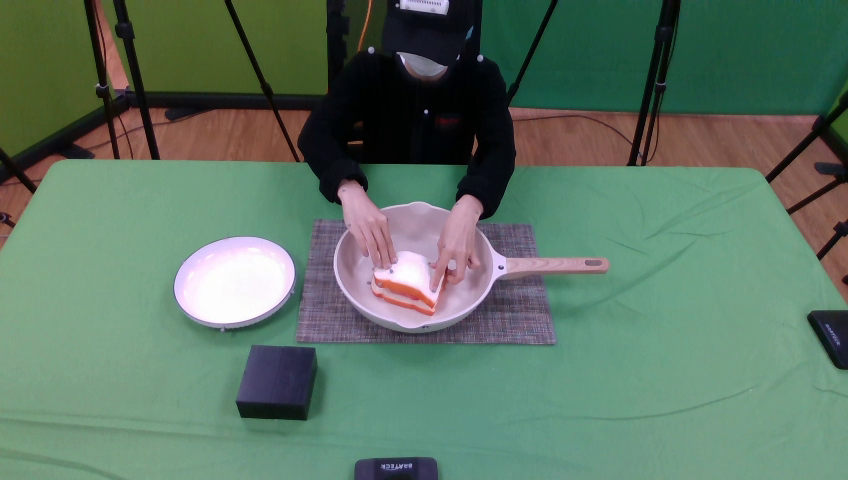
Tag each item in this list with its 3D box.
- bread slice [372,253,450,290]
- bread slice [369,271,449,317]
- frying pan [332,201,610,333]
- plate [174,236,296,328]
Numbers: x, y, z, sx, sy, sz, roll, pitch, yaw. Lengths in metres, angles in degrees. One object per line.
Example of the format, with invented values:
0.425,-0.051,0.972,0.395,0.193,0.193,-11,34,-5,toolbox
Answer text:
-0.027,0.055,1.074,0.131,0.019,0.104,-1,29,13,bread slice
-0.031,0.084,1.109,0.134,0.018,0.106,14,46,6,bread slice
0.085,0.052,1.093,0.488,0.103,0.305,-1,46,6,frying pan
-0.335,0.077,1.088,0.208,0.039,0.206,2,46,-2,plate
